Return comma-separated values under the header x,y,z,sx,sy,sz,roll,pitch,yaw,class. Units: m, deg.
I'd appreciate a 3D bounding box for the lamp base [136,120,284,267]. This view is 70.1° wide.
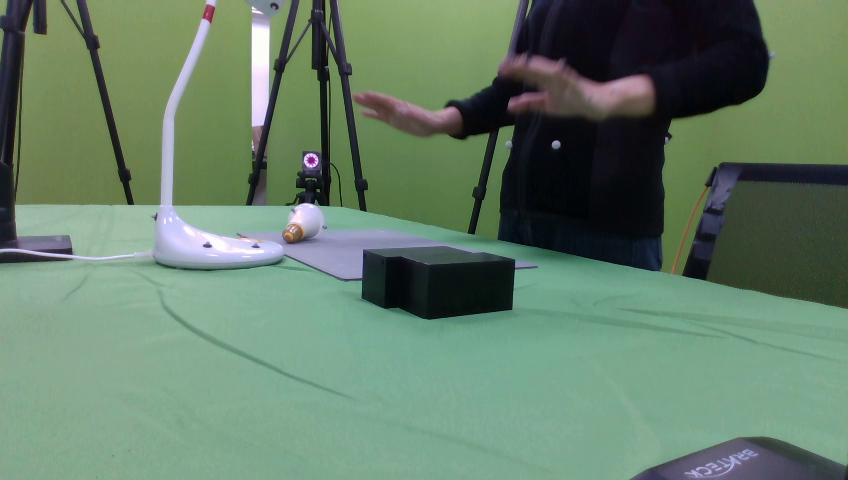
x,y,z,sx,sy,sz,roll,pitch,yaw,class
-0.272,-0.061,0.769,0.180,0.180,0.160,-7,11,-37,lamp base

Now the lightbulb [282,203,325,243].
x,y,z,sx,sy,sz,roll,pitch,yaw,class
-0.202,-0.023,0.993,0.059,0.059,0.108,3,23,12,lightbulb

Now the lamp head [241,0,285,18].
x,y,z,sx,sy,sz,roll,pitch,yaw,class
-0.233,-0.366,0.790,0.123,0.112,0.112,15,-1,-33,lamp head
